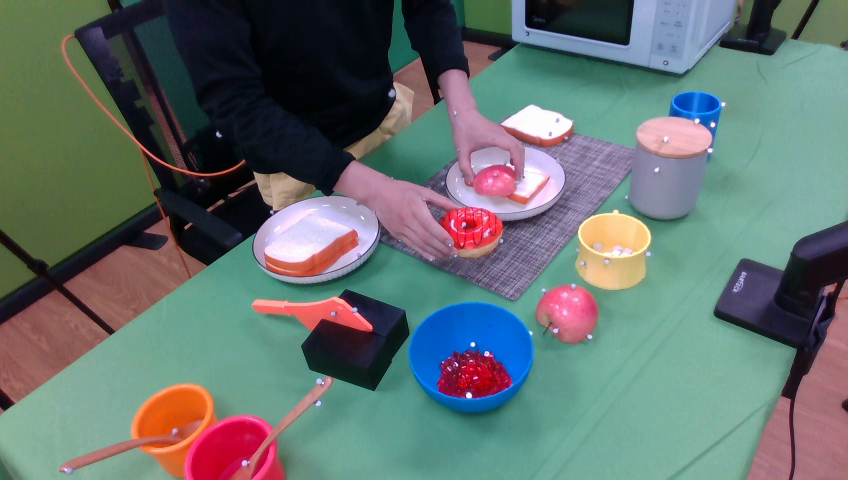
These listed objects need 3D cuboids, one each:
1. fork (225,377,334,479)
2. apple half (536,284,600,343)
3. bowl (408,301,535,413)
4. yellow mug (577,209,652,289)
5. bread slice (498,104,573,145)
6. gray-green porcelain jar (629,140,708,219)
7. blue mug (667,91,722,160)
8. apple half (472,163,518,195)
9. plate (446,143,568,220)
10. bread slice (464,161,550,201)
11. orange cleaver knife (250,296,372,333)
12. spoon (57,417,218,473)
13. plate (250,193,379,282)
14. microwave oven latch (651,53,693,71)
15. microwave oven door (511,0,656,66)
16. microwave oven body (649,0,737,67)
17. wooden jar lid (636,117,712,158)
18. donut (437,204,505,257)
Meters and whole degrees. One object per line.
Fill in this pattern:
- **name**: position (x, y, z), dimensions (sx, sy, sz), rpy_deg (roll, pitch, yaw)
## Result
- **fork**: position (-0.163, 0.216, 0.646), dimensions (0.207, 0.019, 0.028), rpy_deg (-49, 42, 16)
- **apple half**: position (0.196, 0.091, 0.815), dimensions (0.075, 0.053, 0.080), rpy_deg (-22, 42, -20)
- **bowl**: position (0.060, 0.156, 0.739), dimensions (0.151, 0.077, 0.150), rpy_deg (-4, 40, 4)
- **yellow mug**: position (0.279, 0.004, 0.893), dimensions (0.099, 0.064, 0.130), rpy_deg (5, 42, 14)
- **bread slice**: position (0.231, -0.231, 1.205), dimensions (0.105, 0.019, 0.130), rpy_deg (-36, 47, -29)
- **gray-green porcelain jar**: position (0.383, -0.105, 0.958), dimensions (0.106, 0.127, 0.105), rpy_deg (-4, 41, 4)
- **blue mug**: position (0.473, -0.207, 1.079), dimensions (0.082, 0.106, 0.116), rpy_deg (4, 42, 13)
- **apple half**: position (0.117, -0.107, 0.993), dimensions (0.081, 0.033, 0.081), rpy_deg (-3, 40, 3)
- **plate**: position (0.142, -0.097, 1.045), dimensions (0.207, 0.039, 0.206), rpy_deg (-4, 40, 4)
- **bread slice**: position (0.137, -0.104, 1.039), dimensions (0.133, 0.018, 0.107), rpy_deg (15, 30, 22)
- **orange cleaver knife**: position (-0.158, 0.103, 0.828), dimensions (0.210, 0.078, 0.012), rpy_deg (-4, 43, 39)
- **spoon**: position (-0.304, 0.221, 0.661), dimensions (0.041, 0.195, 0.021), rpy_deg (19, 92, 27)
- **plate**: position (-0.174, -0.001, 0.984), dimensions (0.209, 0.038, 0.208), rpy_deg (-3, 40, 3)
- **microwave oven latch**: position (0.532, -0.386, 1.301), dimensions (0.078, 0.029, 0.030), rpy_deg (27, 52, 34)
- **microwave oven door**: position (0.351, -0.539, 1.348), dimensions (0.353, 0.245, 0.039), rpy_deg (24, 50, 31)
- **microwave oven body**: position (0.475, -0.602, 1.411), dimensions (0.438, 0.261, 0.327), rpy_deg (23, 50, 32)
- **wooden jar lid**: position (0.377, -0.151, 0.917), dimensions (0.108, 0.021, 0.108), rpy_deg (-2, 41, 3)
- **donut**: position (0.068, -0.015, 0.876), dimensions (0.099, 0.048, 0.098), rpy_deg (-5, 41, 4)
